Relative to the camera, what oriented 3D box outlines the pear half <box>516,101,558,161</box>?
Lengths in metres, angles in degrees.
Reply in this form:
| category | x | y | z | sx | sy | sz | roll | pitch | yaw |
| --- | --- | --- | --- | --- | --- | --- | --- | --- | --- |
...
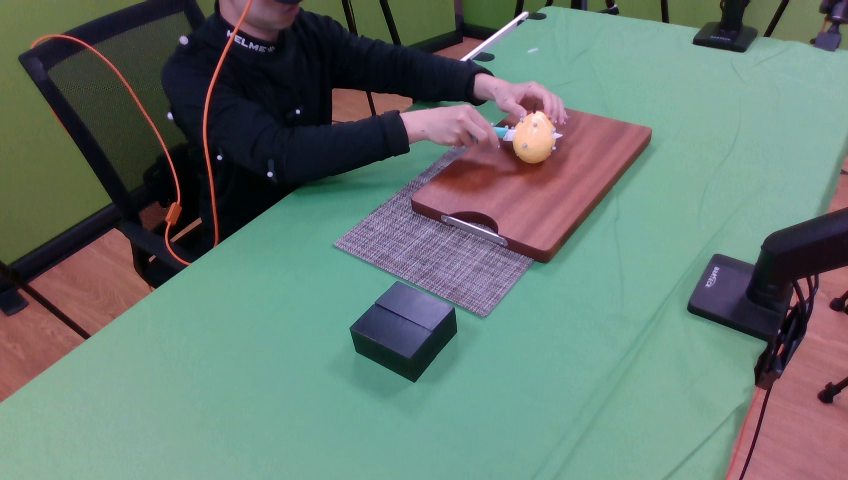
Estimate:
| category | x | y | z | sx | sy | sz | roll | pitch | yaw |
| --- | --- | --- | --- | --- | --- | --- | --- | --- | --- |
| pear half | 0.197 | -0.198 | 1.059 | 0.076 | 0.110 | 0.056 | 2 | 40 | 10 |

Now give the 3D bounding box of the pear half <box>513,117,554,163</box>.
| category | x | y | z | sx | sy | sz | roll | pitch | yaw |
| --- | --- | --- | --- | --- | --- | --- | --- | --- | --- |
| pear half | 0.188 | -0.165 | 1.040 | 0.070 | 0.088 | 0.031 | 5 | 45 | 8 |

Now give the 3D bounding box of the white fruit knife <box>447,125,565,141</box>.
| category | x | y | z | sx | sy | sz | roll | pitch | yaw |
| --- | --- | --- | --- | --- | --- | --- | --- | --- | --- |
| white fruit knife | 0.140 | -0.186 | 1.055 | 0.207 | 0.027 | 0.016 | 4 | 41 | 13 |
